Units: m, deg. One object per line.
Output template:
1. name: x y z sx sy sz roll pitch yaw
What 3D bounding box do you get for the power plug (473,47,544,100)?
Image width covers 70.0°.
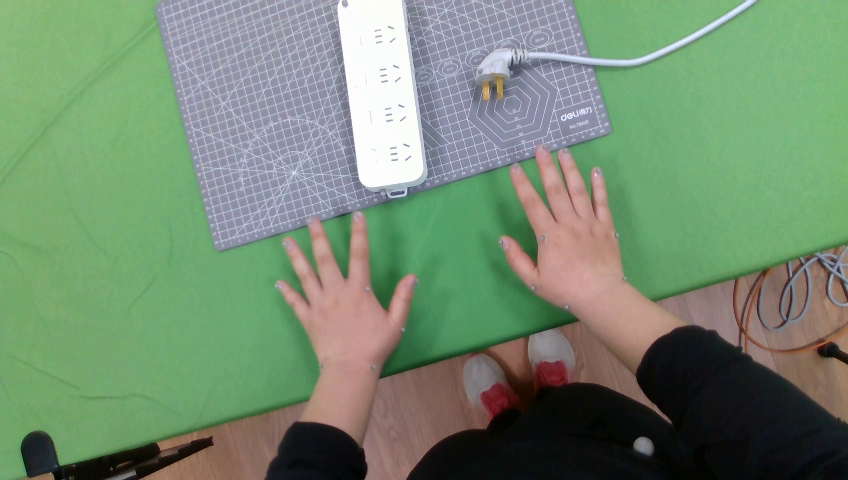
1. power plug: 0.086 -0.173 0.625 0.072 0.035 0.052 -4 83 18

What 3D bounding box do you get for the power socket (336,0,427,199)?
1. power socket: -0.046 -0.158 0.647 0.072 0.032 0.226 -8 86 6
